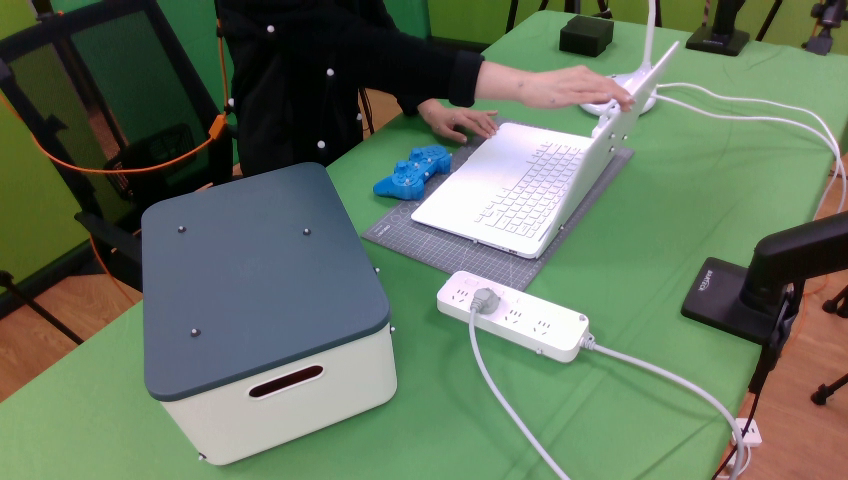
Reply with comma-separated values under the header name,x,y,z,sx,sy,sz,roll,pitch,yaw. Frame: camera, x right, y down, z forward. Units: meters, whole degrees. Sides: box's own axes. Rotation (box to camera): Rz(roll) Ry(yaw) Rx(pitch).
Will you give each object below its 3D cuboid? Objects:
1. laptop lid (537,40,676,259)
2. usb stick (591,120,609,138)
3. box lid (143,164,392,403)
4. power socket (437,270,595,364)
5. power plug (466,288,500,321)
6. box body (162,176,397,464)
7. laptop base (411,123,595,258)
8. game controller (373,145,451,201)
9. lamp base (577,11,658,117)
name,x,y,z,sx,sy,sz,roll,pitch,yaw
laptop lid,0.285,-0.142,0.931,0.013,0.242,0.357,32,50,15
usb stick,0.334,-0.203,1.148,0.021,0.027,0.059,25,52,27
box lid,-0.212,0.025,0.753,0.264,0.015,0.368,-18,40,-13
power socket,0.119,0.102,0.830,0.225,0.033,0.072,20,48,28
power plug,0.072,0.093,0.813,0.035,0.053,0.073,30,55,35
box body,-0.205,0.080,0.802,0.255,0.161,0.361,-18,41,-13
laptop base,0.167,-0.102,1.074,0.234,0.023,0.355,16,45,30
game controller,-0.018,-0.130,1.111,0.096,0.052,0.155,22,49,26
lamp base,0.406,-0.363,1.223,0.180,0.181,0.159,-20,42,-18
